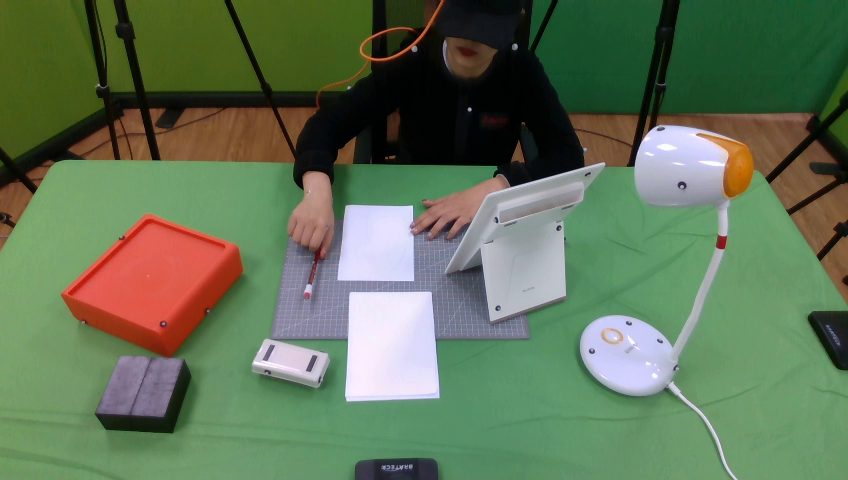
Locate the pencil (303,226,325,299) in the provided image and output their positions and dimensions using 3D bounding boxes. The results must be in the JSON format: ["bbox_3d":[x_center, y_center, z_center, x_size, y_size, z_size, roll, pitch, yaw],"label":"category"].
[{"bbox_3d":[-0.204,0.038,1.136,0.012,0.012,0.193,4,43,0],"label":"pencil"}]

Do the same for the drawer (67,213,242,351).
[{"bbox_3d":[-0.461,0.068,1.056,0.194,0.073,0.211,19,48,13],"label":"drawer"}]

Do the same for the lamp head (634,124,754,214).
[{"bbox_3d":[0.351,-0.089,0.776,0.112,0.113,0.122,-30,30,-28],"label":"lamp head"}]

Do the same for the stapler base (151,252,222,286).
[{"bbox_3d":[-0.432,0.047,1.102,0.130,0.024,0.041,16,33,12],"label":"stapler base"}]

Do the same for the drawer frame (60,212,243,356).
[{"bbox_3d":[-0.462,0.070,1.053,0.201,0.083,0.213,18,48,12],"label":"drawer frame"}]

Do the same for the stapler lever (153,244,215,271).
[{"bbox_3d":[-0.430,0.025,1.088,0.118,0.040,0.027,15,33,12],"label":"stapler lever"}]

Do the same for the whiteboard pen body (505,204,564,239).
[{"bbox_3d":[0.227,-0.036,1.250,0.140,0.017,0.017,32,52,23],"label":"whiteboard pen body"}]

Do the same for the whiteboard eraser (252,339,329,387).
[{"bbox_3d":[-0.215,0.199,0.976,0.112,0.042,0.055,12,45,7],"label":"whiteboard eraser"}]

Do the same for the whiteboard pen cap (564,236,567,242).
[{"bbox_3d":[0.271,-0.008,1.225,0.033,0.018,0.018,34,53,23],"label":"whiteboard pen cap"}]

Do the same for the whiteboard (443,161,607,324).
[{"bbox_3d":[0.185,0.026,1.028,0.217,0.306,0.143,-15,68,-18],"label":"whiteboard"}]

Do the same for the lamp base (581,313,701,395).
[{"bbox_3d":[0.361,0.144,0.973,0.178,0.181,0.160,34,53,23],"label":"lamp base"}]
